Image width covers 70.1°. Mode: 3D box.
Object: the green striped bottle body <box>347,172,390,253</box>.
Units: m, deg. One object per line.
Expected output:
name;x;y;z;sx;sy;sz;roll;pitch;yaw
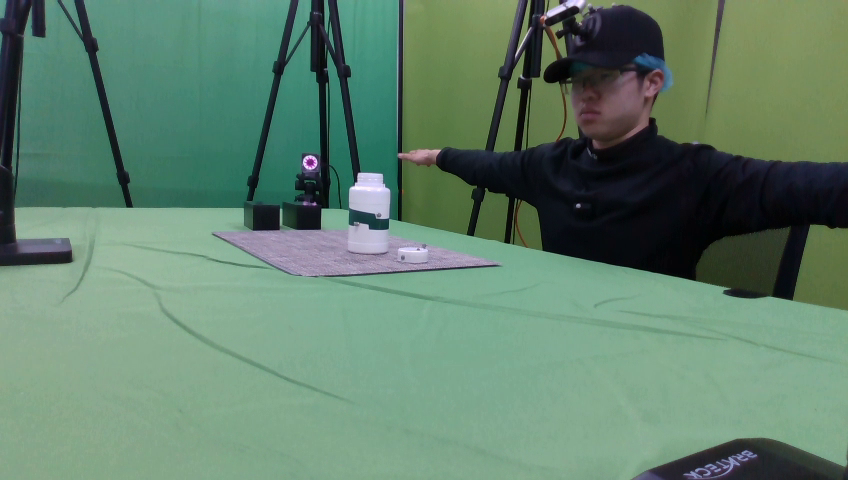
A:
green striped bottle body;-0.083;-0.042;0.913;0.063;0.119;0.063;2;7;0

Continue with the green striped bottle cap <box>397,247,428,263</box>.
green striped bottle cap;-0.016;0.021;0.850;0.044;0.020;0.044;1;5;0
